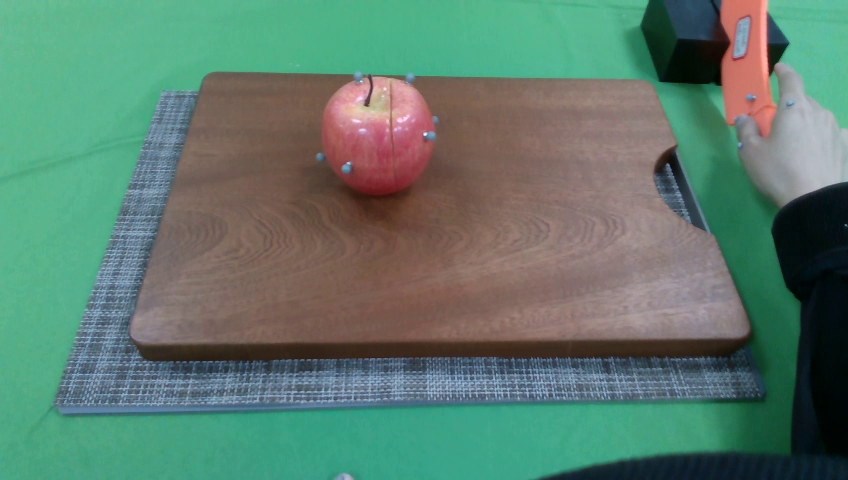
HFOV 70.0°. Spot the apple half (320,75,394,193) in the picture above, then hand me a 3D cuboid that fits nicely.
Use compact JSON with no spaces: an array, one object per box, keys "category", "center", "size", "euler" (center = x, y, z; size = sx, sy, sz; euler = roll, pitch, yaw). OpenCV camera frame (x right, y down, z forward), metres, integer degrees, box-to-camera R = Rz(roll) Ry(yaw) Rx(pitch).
[{"category":"apple half","center":[-0.048,-0.075,0.438],"size":[0.053,0.075,0.080],"euler":[-3,57,-1]}]

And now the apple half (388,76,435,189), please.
[{"category":"apple half","center":[-0.008,-0.076,0.440],"size":[0.033,0.082,0.080],"euler":[-3,53,-1]}]

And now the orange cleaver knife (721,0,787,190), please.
[{"category":"orange cleaver knife","center":[0.288,-0.138,0.536],"size":[0.012,0.077,0.210],"euler":[3,75,-4]}]
